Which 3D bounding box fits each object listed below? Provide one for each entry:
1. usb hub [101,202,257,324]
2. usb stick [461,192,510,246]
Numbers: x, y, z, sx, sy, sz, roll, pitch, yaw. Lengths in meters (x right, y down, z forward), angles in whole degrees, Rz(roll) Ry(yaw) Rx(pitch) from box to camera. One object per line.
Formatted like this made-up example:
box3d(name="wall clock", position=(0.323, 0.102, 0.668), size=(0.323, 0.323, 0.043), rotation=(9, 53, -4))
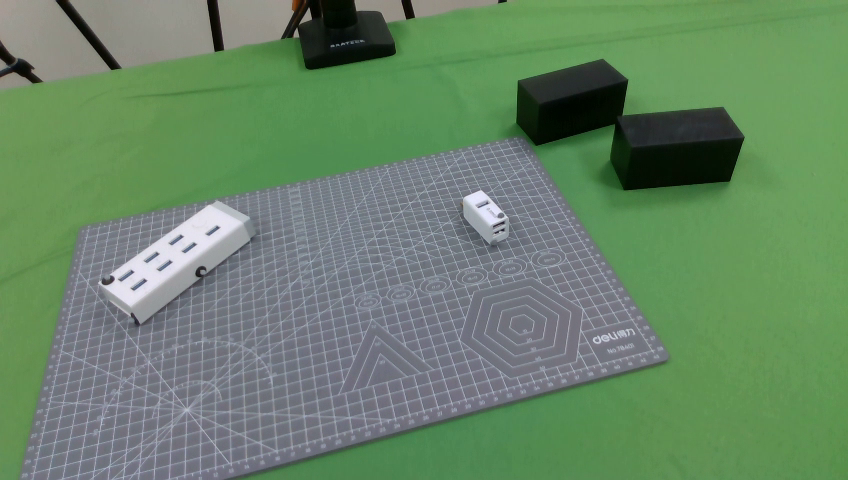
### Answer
box3d(name="usb hub", position=(-0.209, 0.016, 0.525), size=(0.049, 0.025, 0.125), rotation=(25, 51, 29))
box3d(name="usb stick", position=(0.052, -0.023, 0.539), size=(0.021, 0.027, 0.058), rotation=(-26, 44, -15))
